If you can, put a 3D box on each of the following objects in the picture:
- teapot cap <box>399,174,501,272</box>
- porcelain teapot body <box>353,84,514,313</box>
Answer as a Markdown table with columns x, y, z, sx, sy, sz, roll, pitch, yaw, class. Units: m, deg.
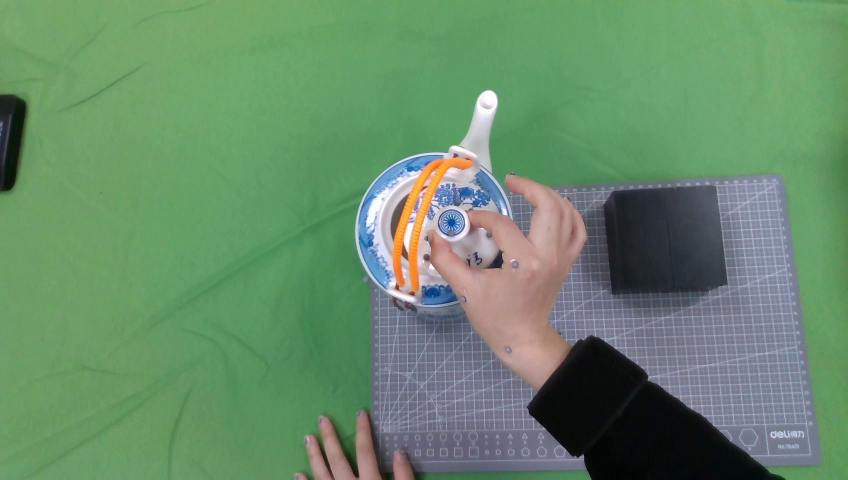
| x | y | z | sx | sy | sz | roll | pitch | yaw | class |
| --- | --- | --- | --- | --- | --- | --- | --- | --- | --- |
| 0.021 | -0.016 | 0.497 | 0.085 | 0.044 | 0.085 | -1 | 78 | 3 | teapot cap |
| 0.020 | -0.039 | 0.563 | 0.145 | 0.226 | 0.205 | 20 | 81 | 9 | porcelain teapot body |
